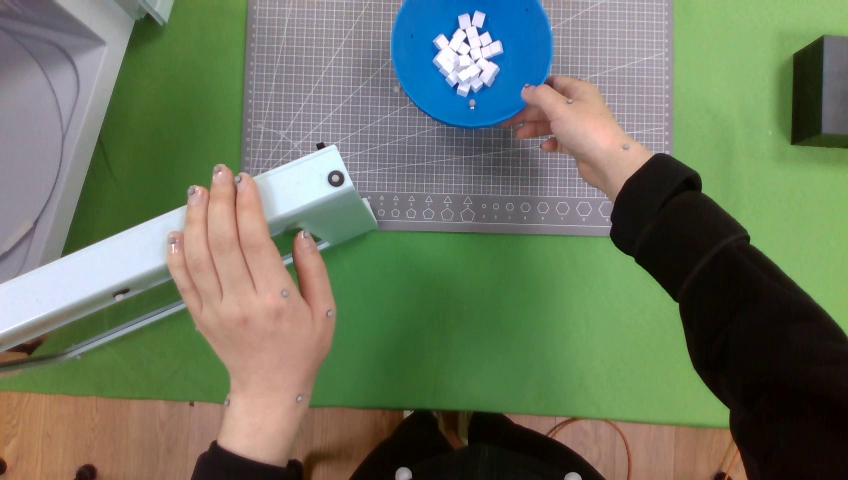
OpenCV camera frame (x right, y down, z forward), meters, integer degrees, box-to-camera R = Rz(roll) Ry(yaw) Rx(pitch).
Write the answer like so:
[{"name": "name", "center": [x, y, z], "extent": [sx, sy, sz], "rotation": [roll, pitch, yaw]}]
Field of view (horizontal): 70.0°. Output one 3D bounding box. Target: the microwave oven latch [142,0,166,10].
[{"name": "microwave oven latch", "center": [-0.264, -0.274, 0.603], "extent": [0.030, 0.029, 0.079], "rotation": [17, 87, -1]}]

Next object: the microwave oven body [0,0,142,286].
[{"name": "microwave oven body", "center": [-0.453, -0.150, 0.496], "extent": [0.326, 0.260, 0.441], "rotation": [15, 87, -1]}]

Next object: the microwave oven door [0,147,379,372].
[{"name": "microwave oven door", "center": [-0.213, 0.027, 0.487], "extent": [0.356, 0.244, 0.039], "rotation": [-23, 86, -2]}]

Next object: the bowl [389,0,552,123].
[{"name": "bowl", "center": [0.043, -0.181, 0.591], "extent": [0.151, 0.077, 0.151], "rotation": [0, 87, 0]}]
